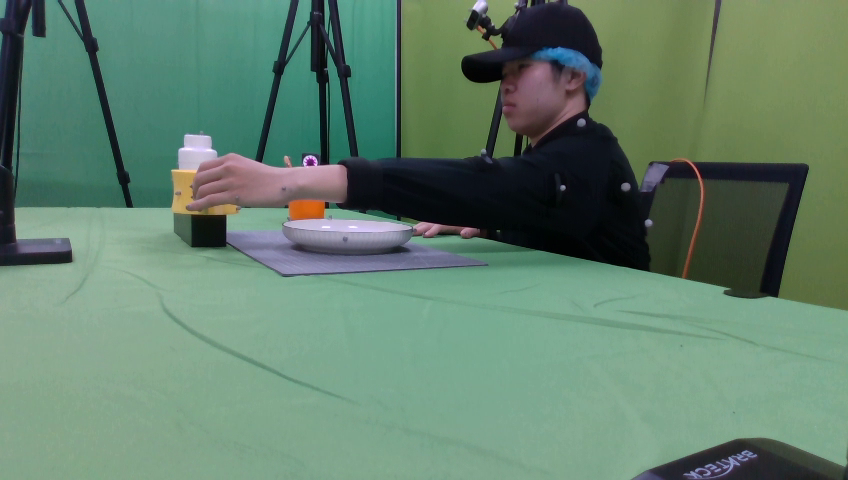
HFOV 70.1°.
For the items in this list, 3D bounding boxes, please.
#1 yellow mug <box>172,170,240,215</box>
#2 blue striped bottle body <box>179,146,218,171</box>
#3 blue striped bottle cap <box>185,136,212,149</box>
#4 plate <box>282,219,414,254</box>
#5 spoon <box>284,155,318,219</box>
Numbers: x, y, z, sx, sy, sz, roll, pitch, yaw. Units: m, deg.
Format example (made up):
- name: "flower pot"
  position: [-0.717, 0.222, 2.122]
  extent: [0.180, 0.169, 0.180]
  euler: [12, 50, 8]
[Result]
- name: "yellow mug"
  position: [-0.338, -0.074, 0.940]
  extent: [0.100, 0.064, 0.130]
  euler: [-1, 9, -19]
- name: "blue striped bottle body"
  position: [-0.392, -0.119, 1.053]
  extent: [0.063, 0.120, 0.063]
  euler: [2, 8, 0]
- name: "blue striped bottle cap"
  position: [-0.390, -0.169, 1.047]
  extent: [0.044, 0.020, 0.044]
  euler: [4, 9, 0]
- name: "plate"
  position: [-0.121, -0.007, 0.970]
  extent: [0.208, 0.039, 0.207]
  euler: [2, 7, 0]
- name: "spoon"
  position: [-0.286, -0.122, 1.367]
  extent: [0.042, 0.021, 0.193]
  euler: [-6, 51, -36]
